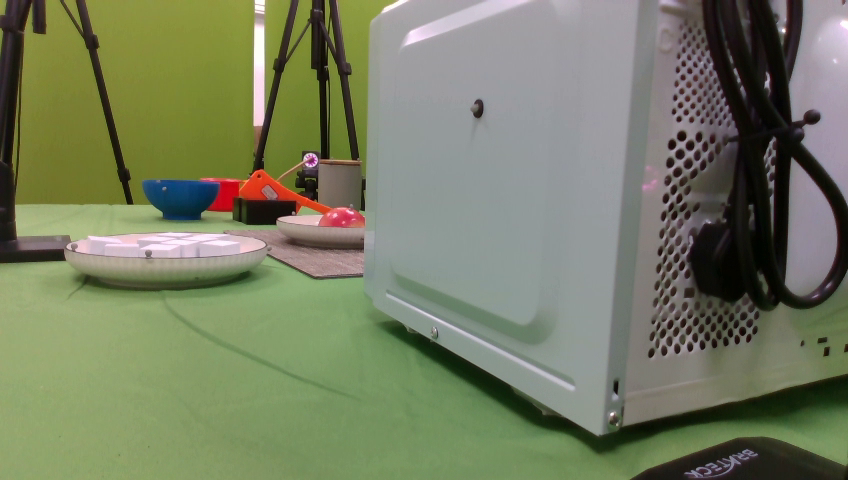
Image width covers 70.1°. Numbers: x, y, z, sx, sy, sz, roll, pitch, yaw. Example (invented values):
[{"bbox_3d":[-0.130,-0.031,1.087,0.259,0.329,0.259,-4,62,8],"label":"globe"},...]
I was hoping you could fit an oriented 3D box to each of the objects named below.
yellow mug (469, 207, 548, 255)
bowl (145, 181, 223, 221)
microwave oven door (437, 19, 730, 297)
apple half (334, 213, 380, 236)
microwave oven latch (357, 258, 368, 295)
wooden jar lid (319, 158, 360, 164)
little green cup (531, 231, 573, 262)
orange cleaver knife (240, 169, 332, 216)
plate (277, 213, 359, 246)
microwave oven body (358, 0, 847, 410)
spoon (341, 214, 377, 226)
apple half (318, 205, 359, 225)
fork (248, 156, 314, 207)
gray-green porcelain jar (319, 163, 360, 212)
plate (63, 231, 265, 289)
[{"bbox_3d":[0.136,-0.015,0.950,0.131,0.064,0.099,3,5,-20],"label":"yellow mug"},{"bbox_3d":[-0.499,-0.081,1.261,0.151,0.077,0.151,2,7,0],"label":"bowl"},{"bbox_3d":[0.181,-0.076,0.618,0.358,0.243,0.039,-2,9,-28],"label":"microwave oven door"},{"bbox_3d":[-0.112,-0.029,1.034,0.081,0.033,0.081,1,10,0],"label":"apple half"},{"bbox_3d":[-0.019,0.031,0.529,0.079,0.029,0.030,-1,7,-27],"label":"microwave oven latch"},{"bbox_3d":[-0.203,-0.189,1.482,0.108,0.020,0.108,2,10,0],"label":"wooden jar lid"},{"bbox_3d":[0.184,0.009,0.878,0.061,0.038,0.061,4,8,0],"label":"little green cup"},{"bbox_3d":[-0.287,-0.082,1.298,0.212,0.077,0.012,25,-2,-31],"label":"orange cleaver knife"},{"bbox_3d":[-0.135,-0.018,0.994,0.209,0.038,0.209,2,7,0],"label":"plate"},{"bbox_3d":[0.210,-0.051,0.471,0.444,0.260,0.324,-1,7,-28],"label":"microwave oven body"},{"bbox_3d":[-0.132,-0.048,1.305,0.041,0.021,0.194,-12,4,14],"label":"spoon"},{"bbox_3d":[-0.126,-0.029,0.954,0.081,0.053,0.074,-2,11,-33],"label":"apple half"},{"bbox_3d":[-0.360,-0.147,1.523,0.207,0.019,0.028,-43,16,-6],"label":"fork"},{"bbox_3d":[-0.204,-0.126,1.490,0.106,0.126,0.106,2,8,0],"label":"gray-green porcelain jar"},{"bbox_3d":[-0.288,0.021,0.687,0.208,0.039,0.207,2,8,0],"label":"plate"}]
